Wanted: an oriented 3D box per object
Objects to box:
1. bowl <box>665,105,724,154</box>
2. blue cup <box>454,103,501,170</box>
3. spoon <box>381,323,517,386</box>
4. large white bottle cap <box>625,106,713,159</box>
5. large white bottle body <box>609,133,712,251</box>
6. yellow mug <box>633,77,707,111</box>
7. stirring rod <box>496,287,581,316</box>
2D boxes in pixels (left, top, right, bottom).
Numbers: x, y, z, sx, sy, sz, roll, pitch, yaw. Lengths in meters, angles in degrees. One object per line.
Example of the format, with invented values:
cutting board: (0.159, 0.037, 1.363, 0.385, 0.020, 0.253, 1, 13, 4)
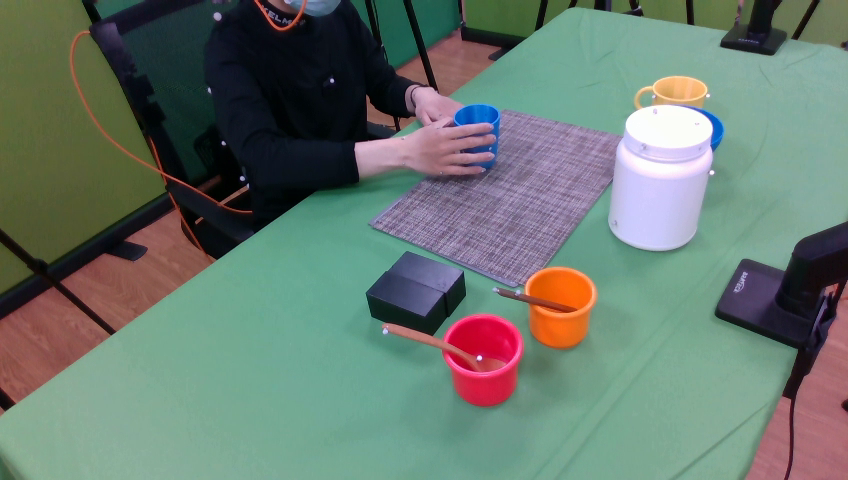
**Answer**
bowl: (0.438, -0.166, 1.063, 0.151, 0.077, 0.150, -4, 41, 4)
blue cup: (0.100, -0.186, 1.112, 0.092, 0.100, 0.092, -4, 42, 4)
spoon: (0.033, 0.133, 0.722, 0.195, 0.021, 0.041, 29, 33, -26)
large white bottle cap: (0.342, -0.153, 0.848, 0.115, 0.018, 0.114, -4, 41, 4)
large white bottle body: (0.351, -0.090, 0.904, 0.130, 0.185, 0.130, -5, 41, 4)
yellow mug: (0.479, -0.270, 1.186, 0.130, 0.064, 0.100, 10, 44, 21)
stirring rod: (0.150, 0.080, 0.773, 0.178, 0.006, 0.014, 17, 21, -42)
